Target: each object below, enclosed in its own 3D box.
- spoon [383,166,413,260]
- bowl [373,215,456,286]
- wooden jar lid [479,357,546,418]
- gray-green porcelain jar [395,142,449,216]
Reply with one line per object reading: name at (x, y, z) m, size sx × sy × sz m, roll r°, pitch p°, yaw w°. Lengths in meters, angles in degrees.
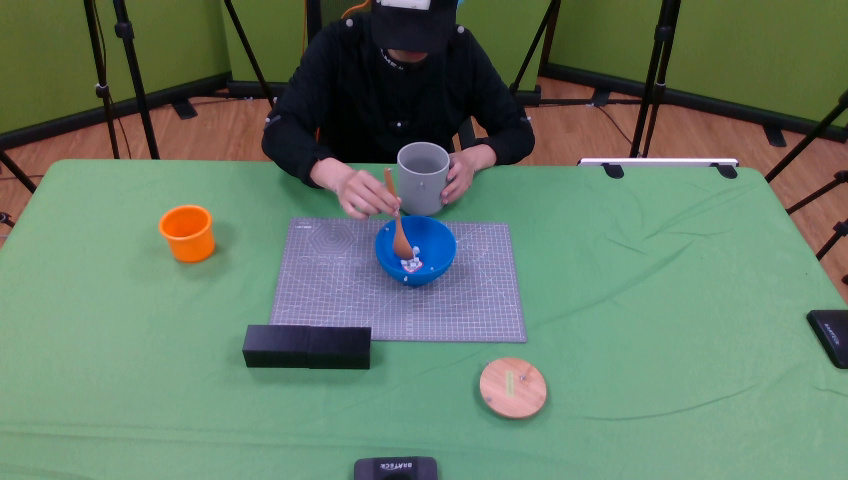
spoon at (-0.050, -0.042, 1.057) m, size 0.041 × 0.194 × 0.021 m, roll 7°, pitch 33°, yaw 26°
bowl at (-0.019, 0.032, 1.123) m, size 0.151 × 0.077 × 0.150 m, roll 3°, pitch 46°, yaw -2°
wooden jar lid at (0.142, 0.240, 0.979) m, size 0.108 × 0.021 × 0.107 m, roll 1°, pitch 46°, yaw -1°
gray-green porcelain jar at (-0.007, -0.120, 1.241) m, size 0.106 × 0.127 × 0.105 m, roll 2°, pitch 46°, yaw -2°
